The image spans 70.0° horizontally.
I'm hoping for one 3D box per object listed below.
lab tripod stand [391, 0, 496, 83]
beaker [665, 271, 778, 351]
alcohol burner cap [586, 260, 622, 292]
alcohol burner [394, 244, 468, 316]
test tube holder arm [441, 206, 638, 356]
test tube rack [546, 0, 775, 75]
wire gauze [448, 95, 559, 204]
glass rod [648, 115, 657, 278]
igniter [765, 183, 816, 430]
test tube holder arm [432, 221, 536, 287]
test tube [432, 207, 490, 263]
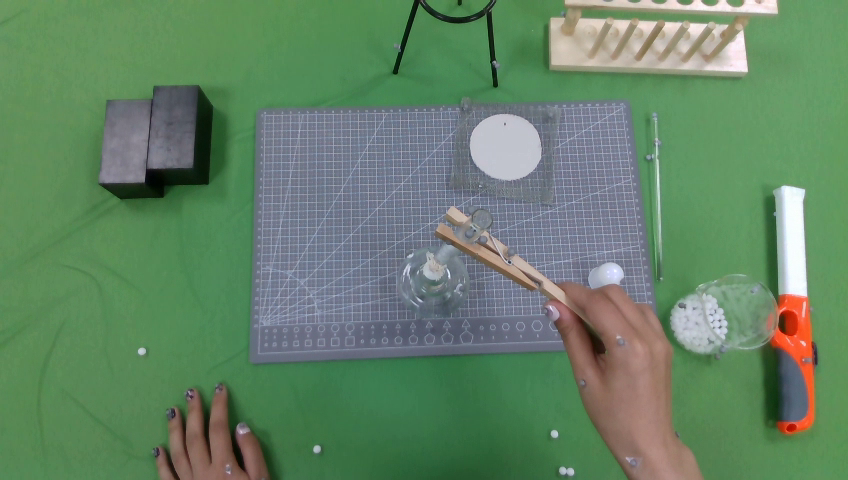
[{"bbox_3d":[0.029,-0.249,0.689,0.148,0.132,0.147,0,78,-1],"label":"lab tripod stand"},{"bbox_3d":[0.301,0.077,0.634,0.084,0.101,0.074,29,76,7],"label":"beaker"},{"bbox_3d":[0.200,0.037,0.667,0.034,0.048,0.033,0,76,-1],"label":"alcohol burner cap"},{"bbox_3d":[0.007,0.038,0.625,0.078,0.119,0.077,0,75,1],"label":"alcohol burner"},{"bbox_3d":[0.087,0.031,0.457,0.178,0.015,0.013,35,80,0],"label":"test tube holder arm"},{"bbox_3d":[0.275,-0.251,0.720,0.242,0.085,0.066,2,76,-1],"label":"test tube rack"},{"bbox_3d":[0.095,-0.111,0.718,0.125,0.011,0.121,9,77,0],"label":"wire gauze"},{"bbox_3d":[0.268,-0.053,0.711,0.008,0.008,0.199,4,78,-1],"label":"glass rod"},{"bbox_3d":[0.406,0.070,0.675,0.057,0.025,0.275,9,76,-9],"label":"igniter"},{"bbox_3d":[0.046,0.011,0.455,0.088,0.015,0.010,28,80,-1],"label":"test tube holder arm"},{"bbox_3d":[0.026,0.000,0.477,0.017,0.150,0.017,2,78,-9],"label":"test tube"}]
